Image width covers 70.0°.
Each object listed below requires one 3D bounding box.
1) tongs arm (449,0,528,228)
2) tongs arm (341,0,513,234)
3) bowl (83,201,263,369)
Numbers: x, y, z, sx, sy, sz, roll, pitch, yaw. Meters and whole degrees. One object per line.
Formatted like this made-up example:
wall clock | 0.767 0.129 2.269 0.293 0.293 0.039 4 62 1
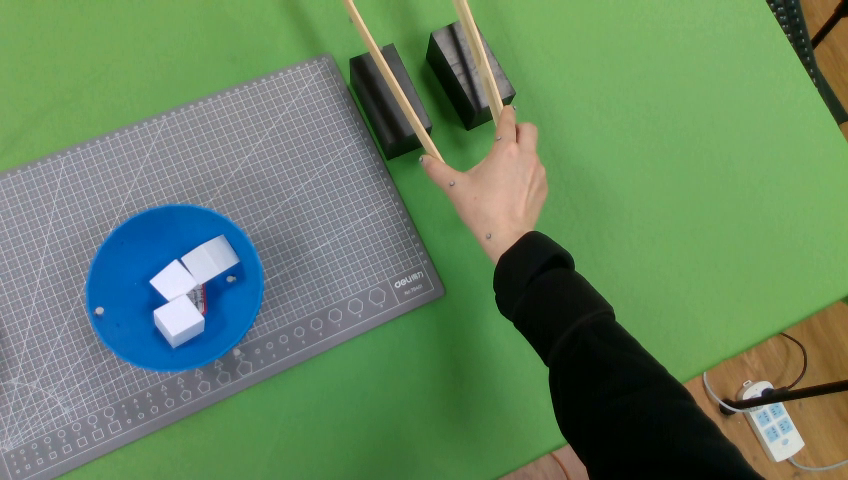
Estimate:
tongs arm | 0.040 -0.197 0.617 0.028 0.028 0.386 -14 80 -17
tongs arm | -0.022 -0.173 0.601 0.051 0.026 0.383 -24 82 -15
bowl | -0.223 0.046 0.569 0.152 0.077 0.150 2 78 -7
